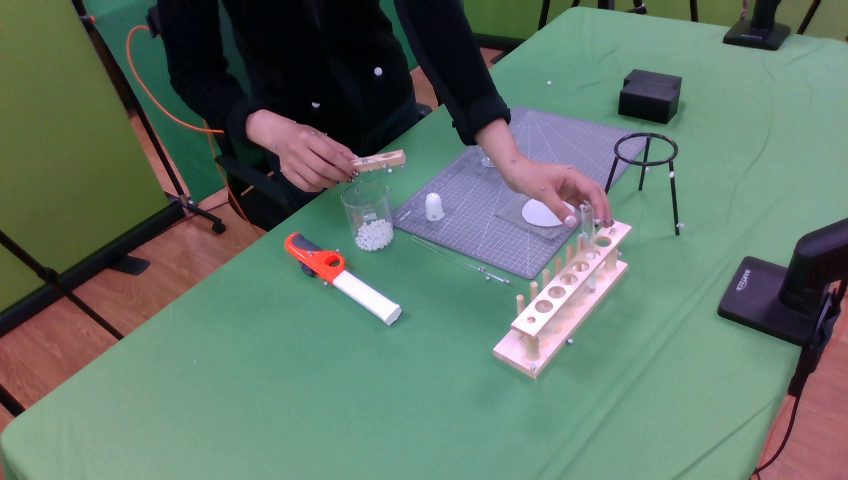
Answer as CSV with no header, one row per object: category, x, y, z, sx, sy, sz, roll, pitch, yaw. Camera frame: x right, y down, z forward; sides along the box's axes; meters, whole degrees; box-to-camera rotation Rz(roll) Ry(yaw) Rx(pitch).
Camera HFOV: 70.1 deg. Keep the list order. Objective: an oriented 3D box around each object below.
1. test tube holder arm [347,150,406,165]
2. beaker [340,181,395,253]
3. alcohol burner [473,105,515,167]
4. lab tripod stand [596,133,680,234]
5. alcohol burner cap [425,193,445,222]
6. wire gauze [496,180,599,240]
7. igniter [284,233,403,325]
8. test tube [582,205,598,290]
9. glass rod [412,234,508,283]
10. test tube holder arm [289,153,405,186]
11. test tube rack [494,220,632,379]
test tube holder arm,-0.068,-0.110,0.850,0.087,0.015,0.010,-10,35,17
beaker,-0.087,-0.037,0.985,0.084,0.101,0.073,-18,41,-11
alcohol burner,0.128,-0.196,1.116,0.078,0.119,0.077,-4,39,4
lab tripod stand,0.338,-0.090,0.940,0.148,0.132,0.147,-7,39,6
alcohol burner cap,0.017,-0.058,1.029,0.034,0.048,0.033,-6,39,5
wire gauze,0.206,-0.050,1.012,0.125,0.011,0.120,-34,45,-26
igniter,-0.136,0.054,0.942,0.274,0.025,0.057,29,63,37
test tube,0.220,0.014,0.798,0.017,0.151,0.017,-9,43,9
glass rod,0.052,0.027,0.952,0.198,0.008,0.008,26,52,37
test tube holder arm,-0.112,-0.100,0.859,0.178,0.015,0.013,-10,35,17
test tube rack,0.191,0.068,0.818,0.066,0.085,0.243,25,51,35
